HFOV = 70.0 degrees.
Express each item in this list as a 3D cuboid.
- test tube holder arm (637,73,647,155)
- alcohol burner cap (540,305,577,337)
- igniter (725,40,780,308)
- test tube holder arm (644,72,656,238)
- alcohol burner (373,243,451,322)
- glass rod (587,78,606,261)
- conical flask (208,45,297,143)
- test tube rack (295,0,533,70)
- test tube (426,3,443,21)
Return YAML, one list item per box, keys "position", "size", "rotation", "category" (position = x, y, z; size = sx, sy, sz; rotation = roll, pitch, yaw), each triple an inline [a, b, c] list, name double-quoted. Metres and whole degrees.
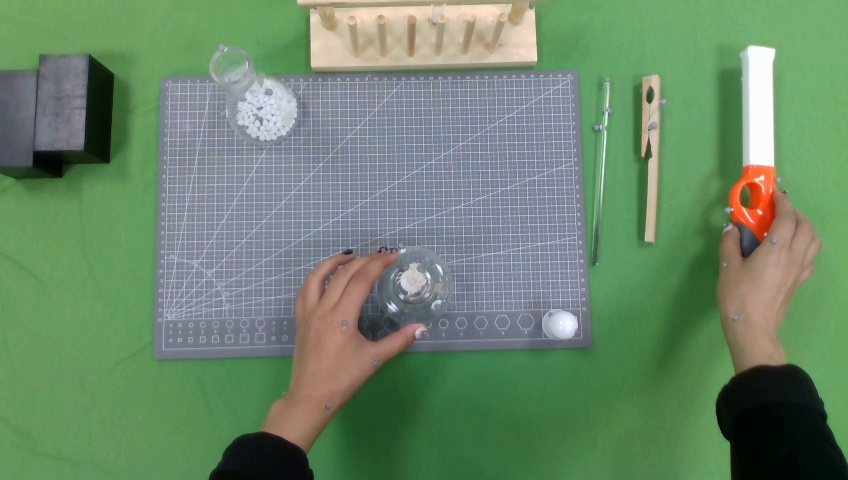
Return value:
- position: [0.237, -0.136, 0.653]
  size: [0.010, 0.015, 0.087]
  rotation: [-2, 84, 32]
  category: "test tube holder arm"
- position: [0.138, 0.081, 0.611]
  size: [0.034, 0.048, 0.033]
  rotation: [0, 82, -1]
  category: "alcohol burner cap"
- position: [0.336, -0.069, 0.620]
  size: [0.057, 0.025, 0.276]
  rotation: [4, 85, -7]
  category: "igniter"
- position: [0.240, -0.091, 0.646]
  size: [0.013, 0.015, 0.178]
  rotation: [-2, 84, 32]
  category: "test tube holder arm"
- position: [-0.012, 0.039, 0.578]
  size: [0.078, 0.119, 0.077]
  rotation: [0, 82, 1]
  category: "alcohol burner"
- position: [0.185, -0.076, 0.649]
  size: [0.008, 0.008, 0.199]
  rotation: [5, 86, 0]
  category: "glass rod"
- position: [-0.172, -0.146, 0.592]
  size: [0.075, 0.122, 0.075]
  rotation: [0, 83, -1]
  category: "conical flask"
- position: [-0.004, -0.228, 0.625]
  size: [0.242, 0.085, 0.066]
  rotation: [-2, 83, -1]
  category: "test tube rack"
- position: [0.014, -0.253, 0.579]
  size: [0.017, 0.150, 0.017]
  rotation: [1, 80, -4]
  category: "test tube"
